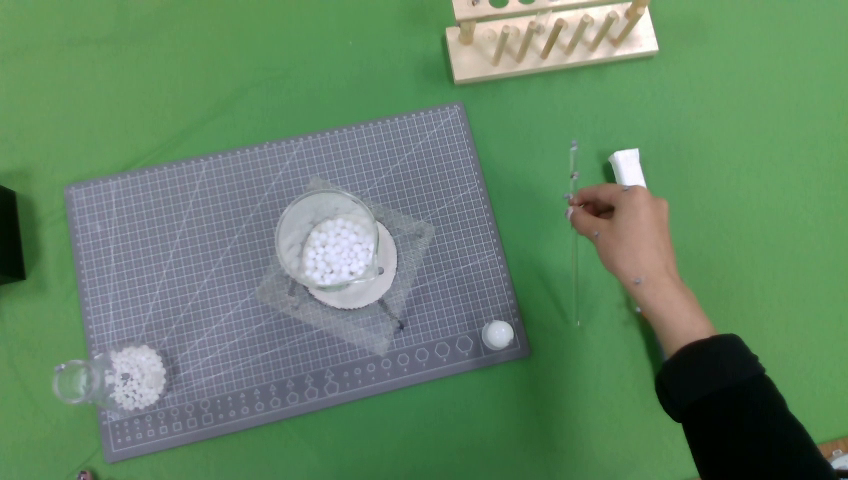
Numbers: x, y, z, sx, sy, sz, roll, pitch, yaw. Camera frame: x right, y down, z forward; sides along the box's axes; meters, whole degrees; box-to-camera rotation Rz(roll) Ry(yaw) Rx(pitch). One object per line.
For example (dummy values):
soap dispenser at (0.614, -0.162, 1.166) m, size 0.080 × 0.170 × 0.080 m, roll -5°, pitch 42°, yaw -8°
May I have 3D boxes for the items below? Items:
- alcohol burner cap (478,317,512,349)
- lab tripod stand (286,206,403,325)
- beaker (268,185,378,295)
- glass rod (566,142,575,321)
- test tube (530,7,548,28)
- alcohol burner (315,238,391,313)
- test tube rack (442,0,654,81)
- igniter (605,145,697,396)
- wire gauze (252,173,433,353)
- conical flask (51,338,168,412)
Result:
alcohol burner cap at (0.076, 0.095, 0.633) m, size 0.034 × 0.048 × 0.033 m, roll 1°, pitch 76°, yaw -5°
lab tripod stand at (-0.074, 0.028, 0.592) m, size 0.148 × 0.132 × 0.148 m, roll 0°, pitch 82°, yaw -1°
beaker at (-0.071, 0.007, 0.480) m, size 0.084 × 0.100 × 0.074 m, roll 37°, pitch 81°, yaw 4°
glass rod at (0.148, -0.002, 0.610) m, size 0.008 × 0.008 × 0.201 m, roll -10°, pitch 117°, yaw -5°
test tube at (0.129, -0.264, 0.629) m, size 0.017 × 0.150 × 0.017 m, roll 0°, pitch 80°, yaw 0°
alcohol burner at (-0.072, 0.033, 0.601) m, size 0.078 × 0.119 × 0.077 m, roll 0°, pitch 81°, yaw -1°
test tube rack at (0.146, -0.244, 0.677) m, size 0.242 × 0.085 × 0.066 m, roll -10°, pitch 80°, yaw -4°
igniter at (0.248, 0.030, 0.663) m, size 0.057 × 0.025 × 0.275 m, roll -10°, pitch 81°, yaw -15°
wire gauze at (-0.069, 0.018, 0.527) m, size 0.125 × 0.011 × 0.121 m, roll 24°, pitch 83°, yaw 0°
conical flask at (-0.298, 0.128, 0.570) m, size 0.075 × 0.122 × 0.075 m, roll 1°, pitch 80°, yaw -2°
